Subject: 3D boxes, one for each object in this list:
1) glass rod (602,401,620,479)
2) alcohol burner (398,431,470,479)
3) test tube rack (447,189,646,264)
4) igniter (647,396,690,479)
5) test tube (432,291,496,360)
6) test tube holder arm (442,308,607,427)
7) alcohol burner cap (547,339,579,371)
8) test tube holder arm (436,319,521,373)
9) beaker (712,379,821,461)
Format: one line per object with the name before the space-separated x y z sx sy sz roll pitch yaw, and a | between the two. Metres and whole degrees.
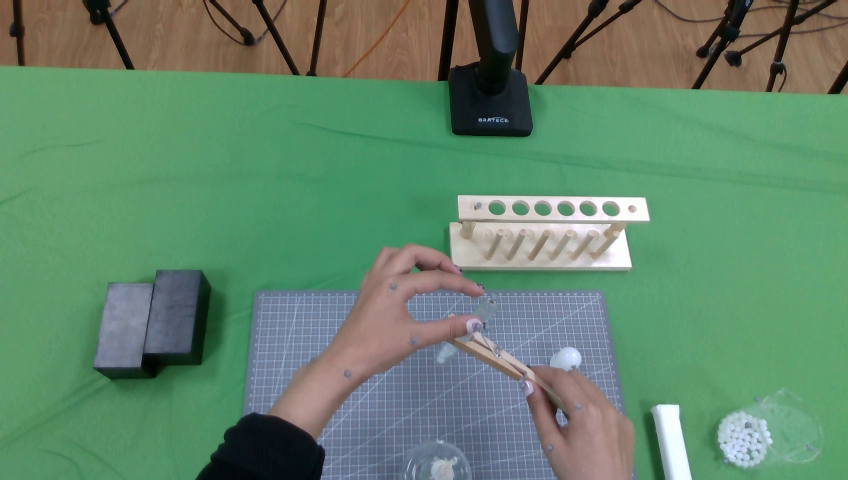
glass rod | 0.222 0.285 0.692 0.008 0.008 0.198 0 65 -7
alcohol burner | 0.012 0.237 0.632 0.078 0.120 0.077 2 62 -4
test tube rack | 0.156 -0.016 0.785 0.243 0.086 0.066 0 65 -6
igniter | 0.291 0.315 0.678 0.057 0.025 0.274 5 64 -15
test tube | 0.034 0.085 0.573 0.017 0.151 0.017 8 60 -14
test tube holder arm | 0.093 0.119 0.568 0.178 0.015 0.013 33 64 7
alcohol burner cap | 0.172 0.138 0.736 0.034 0.048 0.033 2 65 -5
test tube holder arm | 0.052 0.100 0.570 0.088 0.015 0.010 27 62 4
beaker | 0.387 0.211 0.697 0.074 0.101 0.083 12 63 0
